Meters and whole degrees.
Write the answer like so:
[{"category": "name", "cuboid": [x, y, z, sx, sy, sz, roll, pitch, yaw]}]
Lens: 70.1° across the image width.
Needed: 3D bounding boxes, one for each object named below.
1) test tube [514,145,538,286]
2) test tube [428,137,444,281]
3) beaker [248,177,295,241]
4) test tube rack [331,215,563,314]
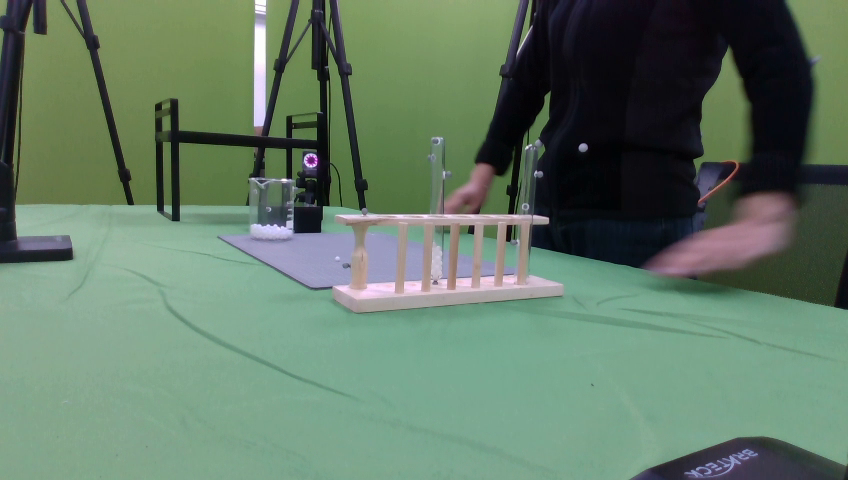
[{"category": "test tube", "cuboid": [0.108, -0.024, 0.639, 0.017, 0.150, 0.017, 2, 9, 0]}, {"category": "test tube", "cuboid": [0.012, -0.032, 0.631, 0.017, 0.150, 0.017, 1, 3, 0]}, {"category": "beaker", "cuboid": [-0.252, -0.051, 0.992, 0.074, 0.100, 0.084, 3, 9, 6]}, {"category": "test tube rack", "cuboid": [0.031, 0.019, 0.626, 0.243, 0.085, 0.066, -1, 8, -28]}]
